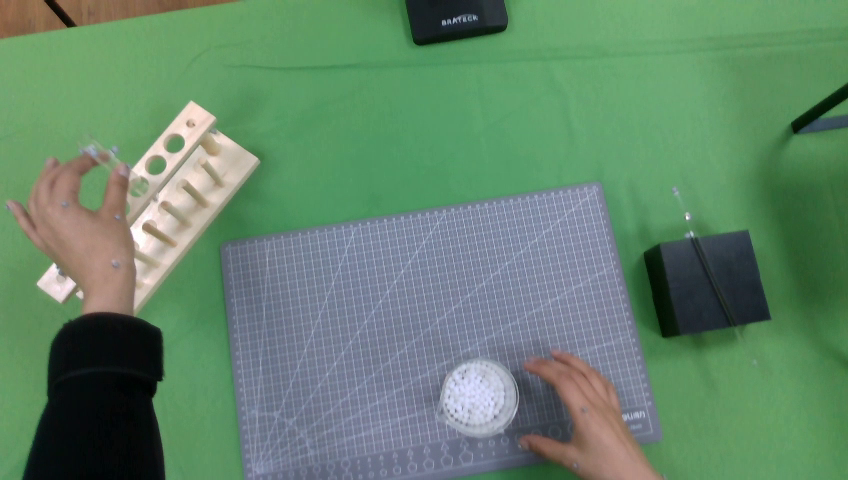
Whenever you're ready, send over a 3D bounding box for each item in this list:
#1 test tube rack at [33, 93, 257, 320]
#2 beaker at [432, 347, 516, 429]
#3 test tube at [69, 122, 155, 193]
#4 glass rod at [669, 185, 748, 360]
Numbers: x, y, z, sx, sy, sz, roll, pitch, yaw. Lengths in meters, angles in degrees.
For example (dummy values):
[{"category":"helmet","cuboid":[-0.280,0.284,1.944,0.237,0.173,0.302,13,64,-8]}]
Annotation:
[{"category":"test tube rack","cuboid":[-0.293,-0.034,0.659,0.066,0.085,0.242,35,80,7]},{"category":"beaker","cuboid":[0.047,0.153,0.619,0.084,0.100,0.073,-26,79,-5]},{"category":"test tube","cuboid":[-0.298,-0.076,0.590,0.017,0.151,0.017,0,75,-1]},{"category":"glass rod","cuboid":[0.303,0.032,0.647,0.008,0.008,0.199,-19,80,-4]}]
